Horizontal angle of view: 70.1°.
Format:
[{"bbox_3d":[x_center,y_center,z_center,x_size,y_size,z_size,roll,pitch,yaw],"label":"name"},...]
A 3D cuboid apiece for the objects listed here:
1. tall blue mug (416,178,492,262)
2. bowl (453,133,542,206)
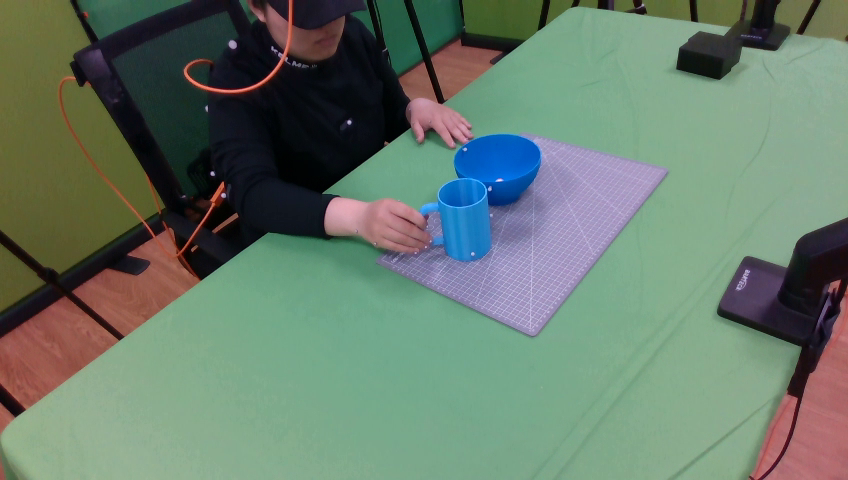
[{"bbox_3d":[0.051,-0.025,0.931,0.107,0.108,0.077,-26,43,-19],"label":"tall blue mug"},{"bbox_3d":[0.129,-0.112,1.045,0.151,0.077,0.150,-5,40,5],"label":"bowl"}]
